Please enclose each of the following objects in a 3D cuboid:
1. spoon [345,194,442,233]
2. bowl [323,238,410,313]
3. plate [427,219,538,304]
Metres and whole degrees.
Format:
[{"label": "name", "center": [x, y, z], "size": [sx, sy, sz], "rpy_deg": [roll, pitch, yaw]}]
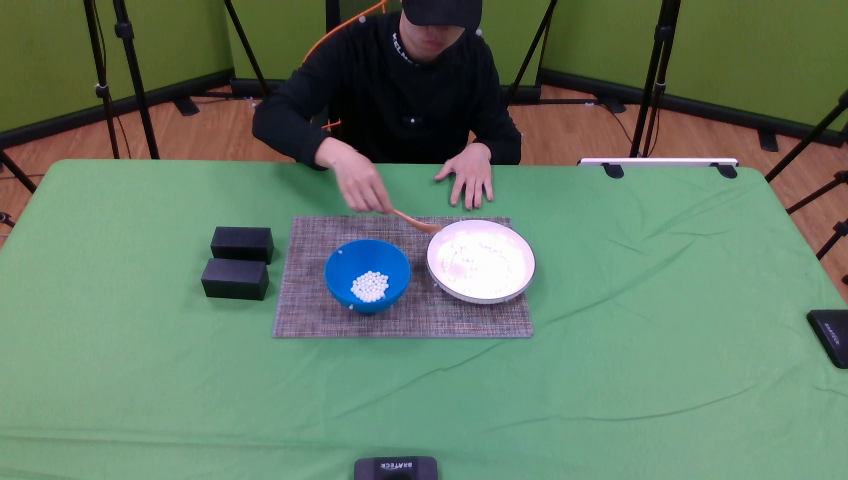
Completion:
[{"label": "spoon", "center": [-0.058, -0.051, 1.131], "size": [0.193, 0.042, 0.021], "rpy_deg": [24, 82, 10]}, {"label": "bowl", "center": [-0.101, 0.077, 1.073], "size": [0.151, 0.077, 0.150], "rpy_deg": [2, 46, -2]}, {"label": "plate", "center": [0.109, 0.044, 1.149], "size": [0.208, 0.039, 0.206], "rpy_deg": [2, 46, -2]}]
